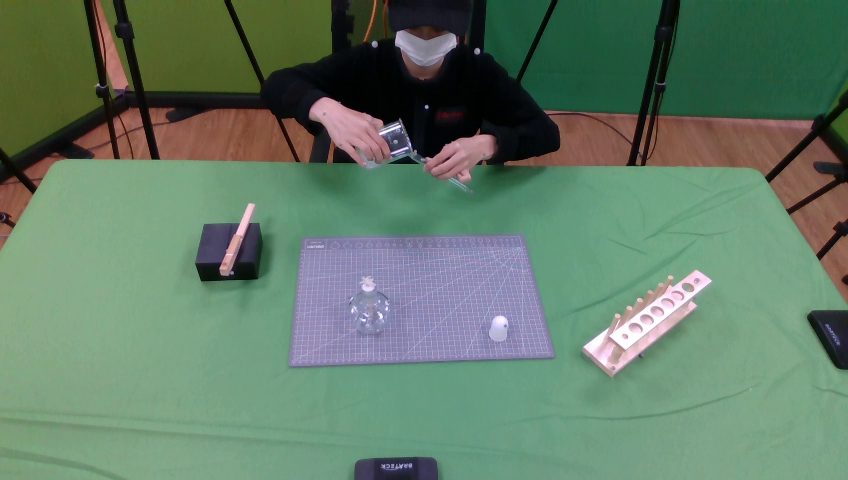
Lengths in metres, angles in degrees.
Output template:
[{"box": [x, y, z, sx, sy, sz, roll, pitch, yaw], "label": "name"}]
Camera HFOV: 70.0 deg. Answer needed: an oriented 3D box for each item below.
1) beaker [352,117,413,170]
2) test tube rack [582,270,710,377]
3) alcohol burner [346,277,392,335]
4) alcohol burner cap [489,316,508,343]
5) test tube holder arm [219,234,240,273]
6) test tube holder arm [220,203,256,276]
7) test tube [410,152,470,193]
[{"box": [-0.079, -0.179, 1.162, 0.100, 0.084, 0.073, -20, 32, 5], "label": "beaker"}, {"box": [0.389, 0.132, 1.057, 0.242, 0.085, 0.066, -28, 54, -28], "label": "test tube rack"}, {"box": [-0.093, 0.106, 1.021, 0.078, 0.120, 0.077, 1, 46, -1], "label": "alcohol burner"}, {"box": [0.130, 0.151, 1.045, 0.034, 0.048, 0.033, 2, 46, -2], "label": "alcohol burner cap"}, {"box": [-0.344, 0.023, 1.076, 0.015, 0.010, 0.087, 5, 45, 2], "label": "test tube holder arm"}, {"box": [-0.340, -0.005, 1.112, 0.015, 0.013, 0.177, 5, 46, 2], "label": "test tube holder arm"}, {"box": [0.034, -0.133, 1.213, 0.151, 0.017, 0.017, 30, 39, -27], "label": "test tube"}]
